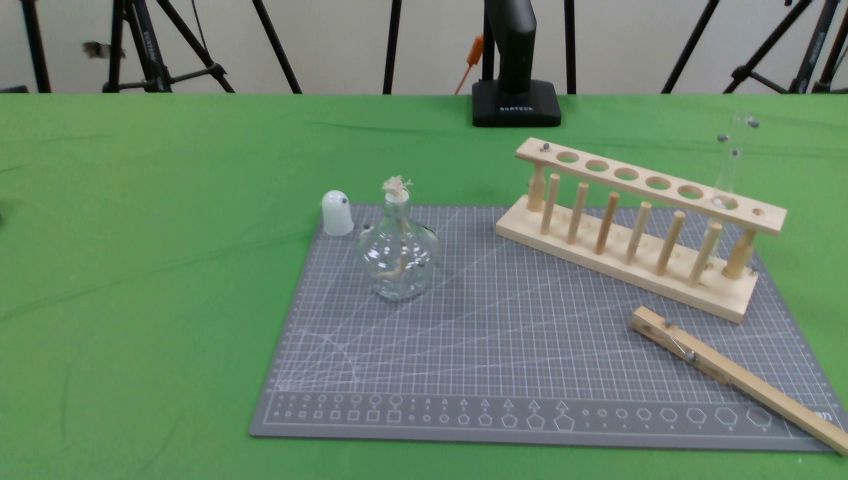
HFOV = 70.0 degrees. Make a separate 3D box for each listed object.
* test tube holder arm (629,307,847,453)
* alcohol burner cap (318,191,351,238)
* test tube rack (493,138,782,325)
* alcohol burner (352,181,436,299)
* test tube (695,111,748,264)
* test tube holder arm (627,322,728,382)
[{"bbox_3d":[0.242,0.105,0.475,0.015,0.013,0.176,-37,52,-28],"label":"test tube holder arm"},{"bbox_3d":[-0.095,-0.030,0.634,0.034,0.048,0.033,0,40,0],"label":"alcohol burner cap"},{"bbox_3d":[0.189,-0.015,0.575,0.240,0.086,0.066,22,45,26],"label":"test tube rack"},{"bbox_3d":[-0.027,-0.004,0.544,0.078,0.120,0.077,0,41,0],"label":"alcohol burner"},{"bbox_3d":[0.255,-0.040,0.525,0.017,0.151,0.017,-3,36,3],"label":"test tube"},{"bbox_3d":[0.211,0.090,0.504,0.015,0.010,0.087,-36,46,-28],"label":"test tube holder arm"}]
